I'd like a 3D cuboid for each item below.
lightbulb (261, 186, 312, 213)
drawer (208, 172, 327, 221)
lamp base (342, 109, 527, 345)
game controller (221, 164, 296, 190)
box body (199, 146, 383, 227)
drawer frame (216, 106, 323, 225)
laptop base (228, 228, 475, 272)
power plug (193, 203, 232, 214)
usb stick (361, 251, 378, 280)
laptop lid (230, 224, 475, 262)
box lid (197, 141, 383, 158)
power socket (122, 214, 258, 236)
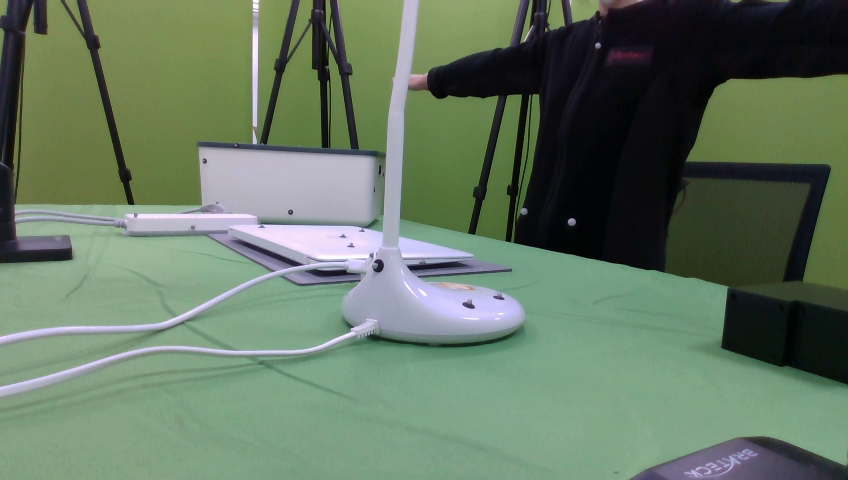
[{"bbox_3d":[-0.294,-0.082,1.293,0.108,0.059,0.059,-14,13,-20],"label":"lightbulb"},{"bbox_3d":[-0.334,-0.101,1.326,0.212,0.073,0.194,8,11,-1],"label":"drawer"},{"bbox_3d":[0.006,-0.015,0.505,0.160,0.180,0.180,6,11,29],"label":"lamp base"},{"bbox_3d":[-0.363,-0.139,1.317,0.156,0.051,0.096,-1,10,-24],"label":"game controller"},{"bbox_3d":[-0.276,-0.124,1.334,0.364,0.160,0.254,3,7,1],"label":"box body"},{"bbox_3d":[-0.311,-0.142,1.311,0.082,0.213,0.202,21,-19,29],"label":"drawer frame"},{"bbox_3d":[-0.122,0.011,0.889,0.237,0.023,0.352,2,6,-35],"label":"laptop base"},{"bbox_3d":[-0.394,-0.043,1.139,0.072,0.052,0.035,-13,2,31],"label":"power plug"},{"bbox_3d":[-0.051,0.033,0.656,0.027,0.021,0.059,4,-27,-21],"label":"usb stick"},{"bbox_3d":[-0.119,0.000,0.889,0.243,0.013,0.355,1,7,-33],"label":"laptop lid"},{"bbox_3d":[-0.275,-0.197,1.326,0.372,0.015,0.263,4,7,1],"label":"box lid"},{"bbox_3d":[-0.398,-0.028,1.049,0.228,0.032,0.072,-3,8,-34],"label":"power socket"}]
